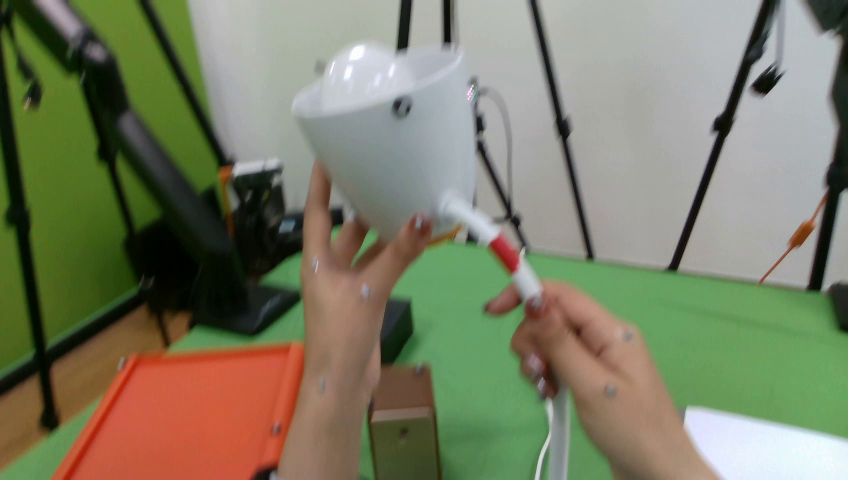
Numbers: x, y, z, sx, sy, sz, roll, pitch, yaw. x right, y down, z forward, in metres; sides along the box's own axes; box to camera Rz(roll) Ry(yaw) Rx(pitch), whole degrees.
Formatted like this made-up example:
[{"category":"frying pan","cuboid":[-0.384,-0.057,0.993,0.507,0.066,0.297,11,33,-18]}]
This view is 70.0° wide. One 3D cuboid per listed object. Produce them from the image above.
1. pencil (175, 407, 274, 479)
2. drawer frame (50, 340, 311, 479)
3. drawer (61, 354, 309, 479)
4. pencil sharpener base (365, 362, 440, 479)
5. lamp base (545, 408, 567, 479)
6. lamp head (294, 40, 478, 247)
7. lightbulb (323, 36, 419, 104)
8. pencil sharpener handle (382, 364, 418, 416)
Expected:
[{"category":"pencil","cuboid":[-0.220,0.219,0.566,0.194,0.012,0.012,-36,40,-30]},{"category":"drawer frame","cuboid":[-0.225,0.198,0.595,0.202,0.083,0.211,-5,26,-2]},{"category":"drawer","cuboid":[-0.223,0.202,0.594,0.194,0.074,0.210,-5,25,-2]},{"category":"pencil sharpener base","cuboid":[-0.020,0.180,0.580,0.061,0.108,0.076,-5,26,-2]},{"category":"lamp base","cuboid":[0.094,0.218,0.403,0.161,0.181,0.177,-6,23,-4]},{"category":"lamp head","cuboid":[-0.010,-0.056,0.396,0.112,0.124,0.111,-17,24,8]},{"category":"lightbulb","cuboid":[-0.024,-0.077,0.388,0.059,0.109,0.059,-17,33,12]},{"category":"pencil sharpener handle","cuboid":[-0.025,0.147,0.620,0.036,0.068,0.030,0,26,-4]}]
